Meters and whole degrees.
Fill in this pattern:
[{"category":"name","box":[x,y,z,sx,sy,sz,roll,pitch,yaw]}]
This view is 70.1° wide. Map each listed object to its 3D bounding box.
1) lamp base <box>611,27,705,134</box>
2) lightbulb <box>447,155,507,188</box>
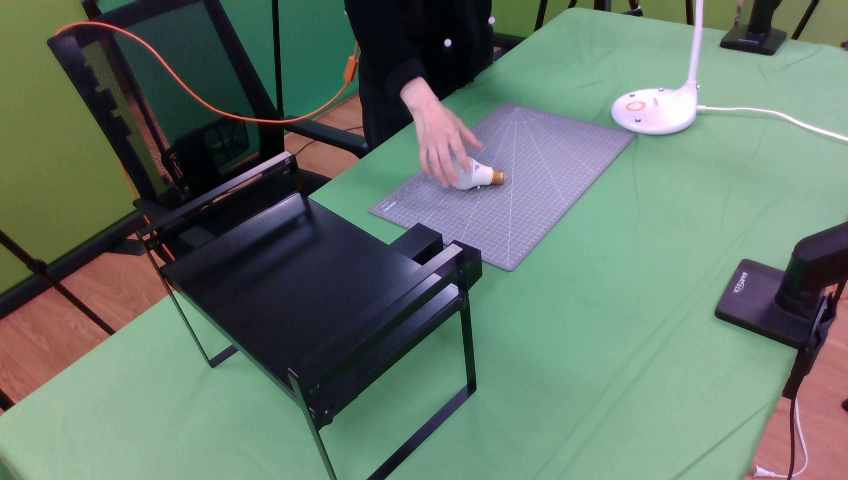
[{"category":"lamp base","box":[0.459,-0.316,1.154,0.179,0.181,0.159,-6,41,-1]},{"category":"lightbulb","box":[0.094,-0.118,1.073,0.108,0.059,0.059,7,40,-7]}]
